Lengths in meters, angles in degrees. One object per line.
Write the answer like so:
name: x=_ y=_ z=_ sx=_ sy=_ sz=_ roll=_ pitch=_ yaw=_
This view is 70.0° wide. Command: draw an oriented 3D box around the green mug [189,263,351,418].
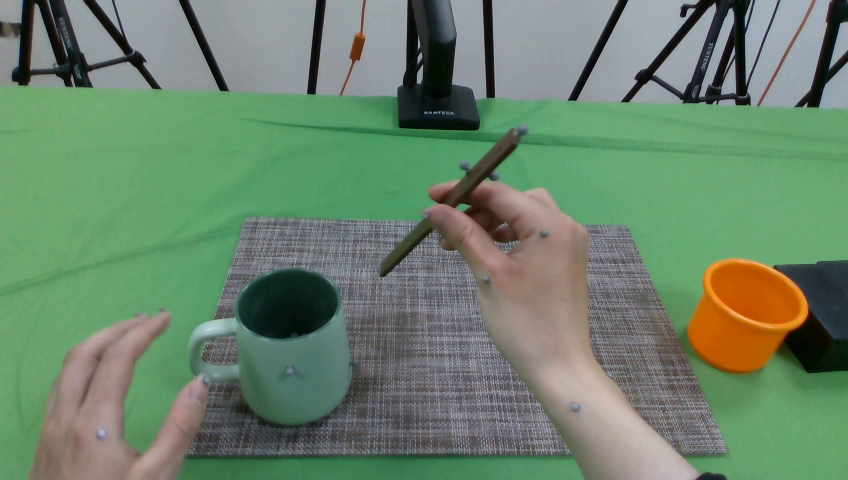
green mug: x=-0.123 y=0.084 z=0.488 sx=0.125 sy=0.106 sz=0.091 roll=-6 pitch=42 yaw=-12

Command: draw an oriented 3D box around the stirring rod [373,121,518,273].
stirring rod: x=0.005 y=-0.019 z=0.384 sx=0.006 sy=0.176 sz=0.014 roll=20 pitch=55 yaw=-21
